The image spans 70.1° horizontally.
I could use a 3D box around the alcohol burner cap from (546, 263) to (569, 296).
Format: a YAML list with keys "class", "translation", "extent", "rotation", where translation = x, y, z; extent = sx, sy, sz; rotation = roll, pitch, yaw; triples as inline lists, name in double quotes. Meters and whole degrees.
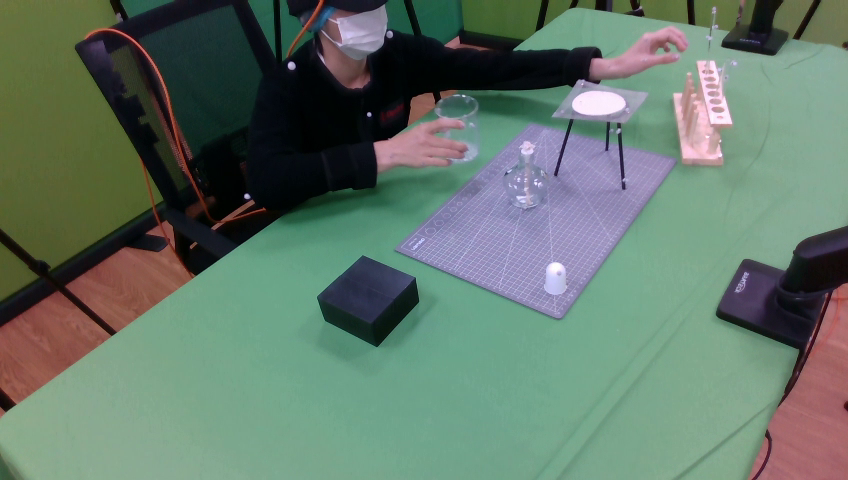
- class: "alcohol burner cap"
  translation: [0.191, 0.053, 0.862]
  extent: [0.034, 0.048, 0.033]
  rotation: [-5, 40, 5]

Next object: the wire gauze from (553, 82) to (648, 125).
- class: "wire gauze"
  translation: [0.293, -0.225, 1.002]
  extent: [0.120, 0.011, 0.125]
  rotation: [17, 45, 27]

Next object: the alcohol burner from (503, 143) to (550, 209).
- class: "alcohol burner"
  translation: [0.171, -0.111, 1.007]
  extent: [0.078, 0.119, 0.077]
  rotation: [-3, 41, 3]

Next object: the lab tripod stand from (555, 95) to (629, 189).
- class: "lab tripod stand"
  translation: [0.301, -0.174, 1.045]
  extent: [0.148, 0.132, 0.147]
  rotation: [-5, 38, 5]

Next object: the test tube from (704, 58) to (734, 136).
- class: "test tube"
  translation: [0.517, -0.247, 1.062]
  extent: [0.017, 0.151, 0.017]
  rotation: [-3, 43, 4]

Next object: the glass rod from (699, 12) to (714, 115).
- class: "glass rod"
  translation: [0.526, -0.323, 1.124]
  extent: [0.008, 0.200, 0.008]
  rotation: [-8, 38, 6]

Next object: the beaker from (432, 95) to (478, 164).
- class: "beaker"
  translation: [0.058, -0.193, 1.060]
  extent: [0.073, 0.101, 0.084]
  rotation: [19, 50, 26]

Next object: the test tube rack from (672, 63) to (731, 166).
- class: "test tube rack"
  translation: [0.513, -0.241, 1.132]
  extent: [0.066, 0.085, 0.242]
  rotation: [4, 41, 14]
